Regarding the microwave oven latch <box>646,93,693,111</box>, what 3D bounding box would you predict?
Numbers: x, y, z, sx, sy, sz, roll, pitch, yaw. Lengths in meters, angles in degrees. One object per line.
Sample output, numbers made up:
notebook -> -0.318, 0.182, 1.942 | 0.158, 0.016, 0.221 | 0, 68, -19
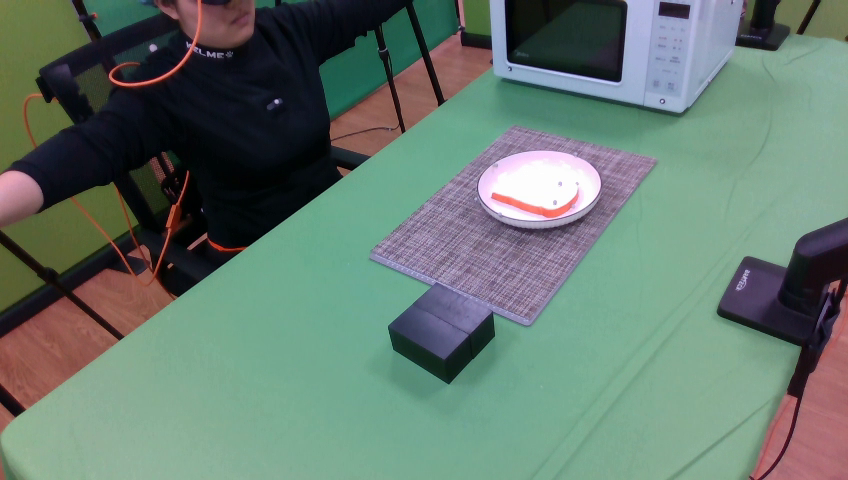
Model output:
microwave oven latch -> 0.477, -0.273, 1.177 | 0.078, 0.029, 0.030 | 22, 50, 33

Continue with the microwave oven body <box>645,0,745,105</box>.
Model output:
microwave oven body -> 0.416, -0.486, 1.290 | 0.438, 0.261, 0.327 | 21, 50, 33

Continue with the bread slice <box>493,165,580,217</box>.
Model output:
bread slice -> 0.200, -0.085, 1.034 | 0.130, 0.019, 0.105 | 23, 50, 34

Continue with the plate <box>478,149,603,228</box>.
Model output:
plate -> 0.198, -0.084, 1.030 | 0.209, 0.038, 0.208 | -5, 40, 5

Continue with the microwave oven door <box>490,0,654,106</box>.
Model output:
microwave oven door -> 0.292, -0.420, 1.228 | 0.353, 0.245, 0.039 | 22, 49, 32
